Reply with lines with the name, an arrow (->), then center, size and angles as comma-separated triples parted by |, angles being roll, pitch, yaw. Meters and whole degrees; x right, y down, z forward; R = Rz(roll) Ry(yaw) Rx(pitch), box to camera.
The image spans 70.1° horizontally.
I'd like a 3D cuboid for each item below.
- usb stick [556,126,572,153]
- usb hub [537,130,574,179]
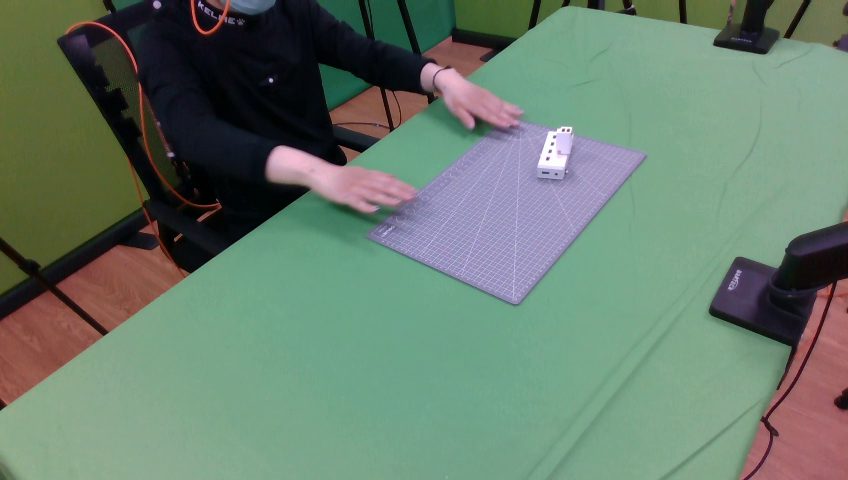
usb stick -> 0.251, -0.174, 1.083 | 0.027, 0.059, 0.021 | 8, 44, 14
usb hub -> 0.243, -0.158, 1.111 | 0.049, 0.025, 0.125 | 8, 43, 17
